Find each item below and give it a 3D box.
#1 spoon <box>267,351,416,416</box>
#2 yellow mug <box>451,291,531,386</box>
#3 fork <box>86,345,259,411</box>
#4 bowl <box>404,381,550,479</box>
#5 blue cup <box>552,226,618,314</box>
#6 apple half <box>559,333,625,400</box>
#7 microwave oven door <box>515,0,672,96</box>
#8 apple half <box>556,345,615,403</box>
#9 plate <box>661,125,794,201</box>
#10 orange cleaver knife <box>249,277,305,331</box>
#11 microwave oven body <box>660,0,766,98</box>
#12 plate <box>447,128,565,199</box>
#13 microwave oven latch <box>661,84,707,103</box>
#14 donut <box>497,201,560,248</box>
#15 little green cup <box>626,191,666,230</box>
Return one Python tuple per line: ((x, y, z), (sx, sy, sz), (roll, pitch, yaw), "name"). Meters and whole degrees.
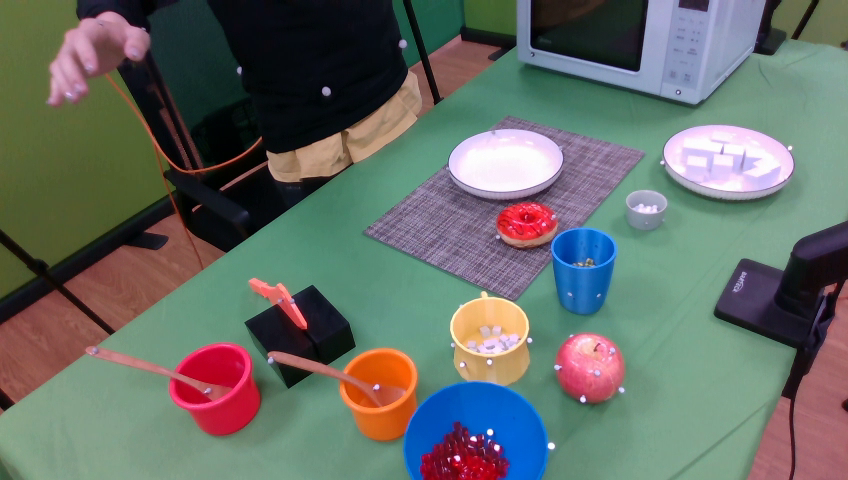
((-0.091, 0.162, 0.699), (0.021, 0.195, 0.041), (-44, 31, 27), "spoon")
((0.086, 0.120, 0.786), (0.100, 0.064, 0.130), (-7, 39, 1), "yellow mug")
((-0.298, 0.166, 0.728), (0.209, 0.018, 0.028), (28, 47, -23), "fork")
((0.058, 0.235, 0.645), (0.151, 0.077, 0.150), (-4, 39, 4), "bowl")
((0.218, 0.047, 0.826), (0.092, 0.101, 0.092), (-6, 40, 5), "blue cup")
((0.209, 0.147, 0.730), (0.080, 0.075, 0.053), (26, 48, 38), "apple half")
((0.343, -0.454, 1.259), (0.353, 0.245, 0.039), (26, 51, 33), "microwave oven door")
((0.181, 0.167, 0.709), (0.080, 0.081, 0.033), (29, 49, 35), "apple half")
((0.513, -0.128, 1.035), (0.207, 0.039, 0.206), (-4, 40, 4), "plate")
((-0.210, 0.088, 0.855), (0.012, 0.077, 0.210), (-28, 15, -25), "orange cleaver knife")
((0.472, -0.513, 1.317), (0.438, 0.261, 0.327), (26, 51, 34), "microwave oven body")
((0.147, -0.134, 1.092), (0.209, 0.038, 0.208), (-4, 40, 4), "plate")
((0.517, -0.296, 1.204), (0.078, 0.029, 0.030), (27, 52, 35), "microwave oven latch")
((0.165, -0.026, 0.958), (0.099, 0.048, 0.098), (-5, 38, 5), "donut")
((0.352, -0.046, 0.963), (0.061, 0.039, 0.061), (-4, 40, 4), "little green cup")
